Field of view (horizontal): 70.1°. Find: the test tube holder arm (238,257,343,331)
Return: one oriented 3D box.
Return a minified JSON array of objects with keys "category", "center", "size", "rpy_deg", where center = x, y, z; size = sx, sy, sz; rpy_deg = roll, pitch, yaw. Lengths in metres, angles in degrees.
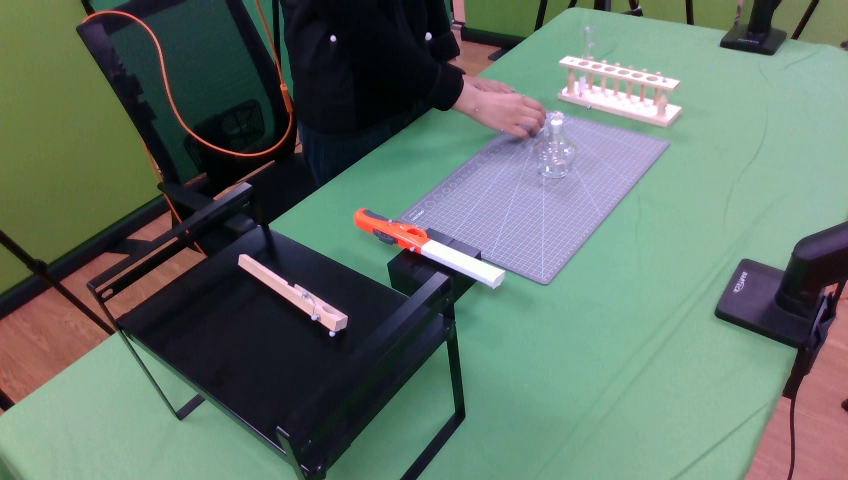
[{"category":"test tube holder arm","center":[-0.150,0.055,0.657],"size":[0.177,0.015,0.013],"rpy_deg":[24,16,35]}]

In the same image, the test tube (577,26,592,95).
[{"category":"test tube","center":[0.325,-0.362,1.227],"size":[0.017,0.151,0.017],"rpy_deg":[-3,45,4]}]

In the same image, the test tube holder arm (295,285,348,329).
[{"category":"test tube holder arm","center":[-0.113,0.070,0.636],"size":[0.087,0.015,0.010],"rpy_deg":[25,17,36]}]

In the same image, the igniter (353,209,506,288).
[{"category":"igniter","center":[-0.003,0.006,0.892],"size":[0.274,0.025,0.057],"rpy_deg":[24,37,31]}]

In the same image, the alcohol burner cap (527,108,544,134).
[{"category":"alcohol burner cap","center":[0.222,-0.238,1.203],"size":[0.034,0.048,0.033],"rpy_deg":[-5,40,5]}]

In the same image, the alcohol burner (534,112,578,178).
[{"category":"alcohol burner","center":[0.232,-0.170,1.066],"size":[0.078,0.119,0.077],"rpy_deg":[-5,39,5]}]

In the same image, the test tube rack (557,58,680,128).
[{"category":"test tube rack","center":[0.395,-0.309,1.231],"size":[0.240,0.085,0.067],"rpy_deg":[25,50,33]}]
